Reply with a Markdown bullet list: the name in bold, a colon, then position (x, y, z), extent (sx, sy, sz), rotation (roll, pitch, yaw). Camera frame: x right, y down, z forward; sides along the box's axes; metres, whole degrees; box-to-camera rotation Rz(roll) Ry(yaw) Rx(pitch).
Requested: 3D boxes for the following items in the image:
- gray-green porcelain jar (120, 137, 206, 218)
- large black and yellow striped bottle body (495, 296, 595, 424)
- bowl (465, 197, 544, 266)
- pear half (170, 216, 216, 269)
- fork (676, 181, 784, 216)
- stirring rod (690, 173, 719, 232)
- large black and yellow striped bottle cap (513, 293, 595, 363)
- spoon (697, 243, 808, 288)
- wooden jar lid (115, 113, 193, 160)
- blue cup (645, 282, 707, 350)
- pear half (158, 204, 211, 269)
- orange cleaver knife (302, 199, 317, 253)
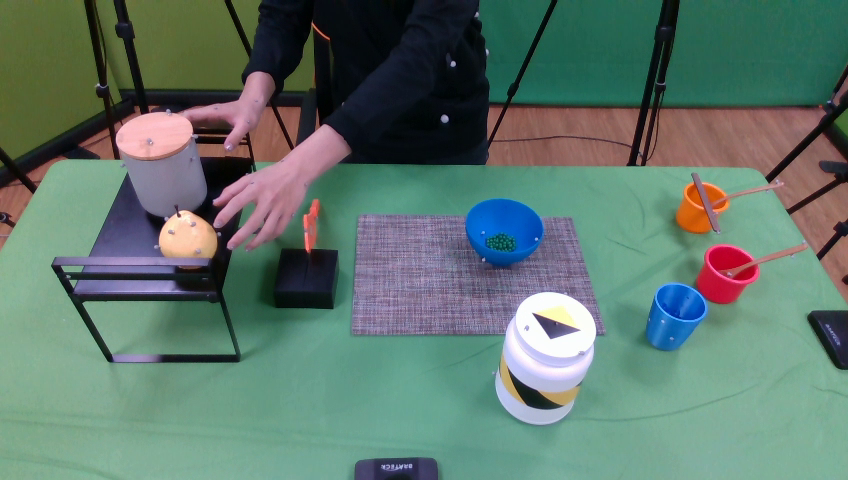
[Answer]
- **gray-green porcelain jar**: position (-0.403, -0.106, 0.946), extent (0.106, 0.127, 0.105), rotation (3, 46, -3)
- **large black and yellow striped bottle body**: position (0.183, 0.182, 0.923), extent (0.131, 0.185, 0.130), rotation (2, 46, -2)
- **bowl**: position (0.149, -0.004, 1.167), extent (0.151, 0.077, 0.150), rotation (2, 46, -2)
- **pear half**: position (-0.324, 0.007, 0.866), extent (0.031, 0.088, 0.070), rotation (25, 45, 20)
- **fork**: position (0.617, -0.084, 1.235), extent (0.207, 0.019, 0.028), rotation (-23, 20, 38)
- **stirring rod**: position (0.566, -0.080, 1.225), extent (0.014, 0.006, 0.175), rotation (2, 46, 2)
- **large black and yellow striped bottle cap**: position (0.186, 0.123, 0.863), extent (0.115, 0.019, 0.114), rotation (3, 45, -3)
- **spoon**: position (0.601, 0.045, 1.115), extent (0.194, 0.022, 0.041), rotation (-29, 34, 30)
- **wooden jar lid**: position (-0.399, -0.151, 0.900), extent (0.108, 0.021, 0.107), rotation (3, 46, -3)
- **blue cup**: position (0.425, 0.136, 1.042), extent (0.093, 0.101, 0.092), rotation (1, 44, -1)
- **pear half**: position (-0.352, -0.015, 0.873), extent (0.056, 0.110, 0.076), rotation (25, 45, 20)
- **orange cleaver knife**: position (-0.219, -0.031, 1.168), extent (0.012, 0.077, 0.210), rotation (-5, 17, -3)
